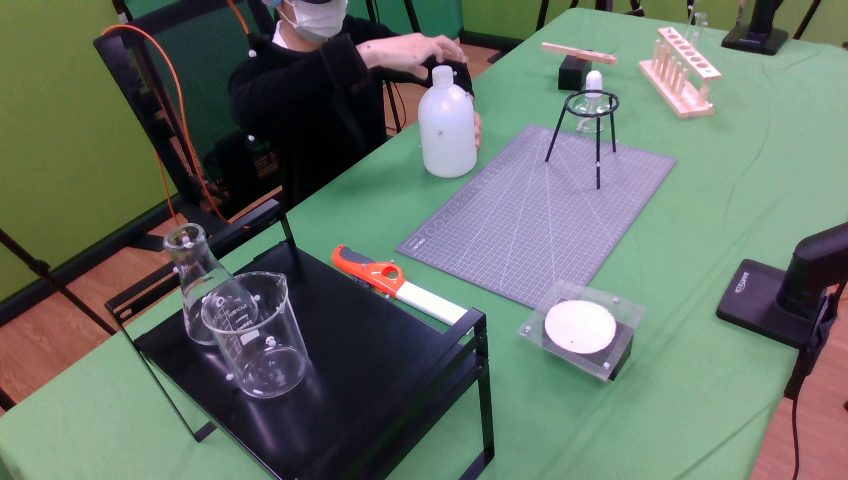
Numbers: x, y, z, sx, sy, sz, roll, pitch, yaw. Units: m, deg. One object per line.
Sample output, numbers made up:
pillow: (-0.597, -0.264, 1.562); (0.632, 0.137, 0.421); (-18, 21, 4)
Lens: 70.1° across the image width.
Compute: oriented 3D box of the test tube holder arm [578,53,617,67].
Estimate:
test tube holder arm: (0.376, -0.393, 1.314); (0.087, 0.015, 0.010); (26, 51, 32)

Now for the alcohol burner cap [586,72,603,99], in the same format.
alcohol burner cap: (0.325, -0.297, 1.154); (0.034, 0.048, 0.033); (-8, 35, 6)

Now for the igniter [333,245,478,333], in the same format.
igniter: (-0.038, 0.068, 0.905); (0.274, 0.025, 0.057); (24, 60, 32)

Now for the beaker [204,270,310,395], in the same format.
beaker: (-0.149, 0.088, 0.565); (0.073, 0.101, 0.084); (21, 47, 29)

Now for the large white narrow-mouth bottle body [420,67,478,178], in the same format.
large white narrow-mouth bottle body: (0.043, -0.217, 1.098); (0.102, 0.195, 0.101); (-4, 40, 4)

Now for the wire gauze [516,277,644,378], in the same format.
wire gauze: (0.197, 0.103, 0.765); (0.124, 0.011, 0.122); (23, 50, 32)

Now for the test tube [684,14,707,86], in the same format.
test tube: (0.541, -0.379, 1.216); (0.017, 0.151, 0.017); (-2, 44, 2)

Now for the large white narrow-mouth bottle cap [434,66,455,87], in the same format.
large white narrow-mouth bottle cap: (0.036, -0.282, 1.042); (0.038, 0.024, 0.037); (-4, 40, 4)

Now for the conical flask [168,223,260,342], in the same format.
conical flask: (-0.219, 0.040, 0.614); (0.075, 0.122, 0.075); (-5, 40, 4)

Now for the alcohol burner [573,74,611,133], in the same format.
alcohol burner: (0.330, -0.270, 1.177); (0.078, 0.119, 0.077); (-4, 43, 4)

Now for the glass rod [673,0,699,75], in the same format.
glass rod: (0.541, -0.427, 1.246); (0.008, 0.200, 0.008); (0, 48, 1)

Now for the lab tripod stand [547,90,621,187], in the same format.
lab tripod stand: (0.289, -0.184, 1.062); (0.148, 0.132, 0.147); (-6, 41, 6)

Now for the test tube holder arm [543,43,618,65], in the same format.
test tube holder arm: (0.345, -0.413, 1.341); (0.177, 0.015, 0.013); (25, 50, 32)

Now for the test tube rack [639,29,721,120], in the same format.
test tube rack: (0.527, -0.351, 1.262); (0.067, 0.085, 0.241); (-8, 40, 1)
